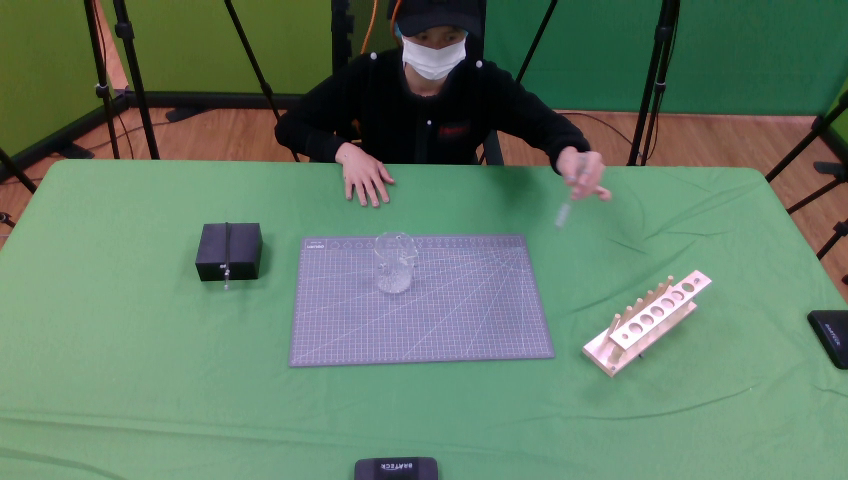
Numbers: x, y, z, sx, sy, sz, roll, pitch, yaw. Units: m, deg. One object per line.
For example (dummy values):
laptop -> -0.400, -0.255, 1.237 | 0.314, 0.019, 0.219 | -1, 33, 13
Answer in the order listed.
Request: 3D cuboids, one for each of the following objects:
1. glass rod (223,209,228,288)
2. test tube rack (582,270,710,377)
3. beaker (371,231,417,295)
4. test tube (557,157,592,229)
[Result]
glass rod -> -0.360, 0.010, 1.098 | 0.008, 0.008, 0.198 | -7, 47, -12
test tube rack -> 0.389, 0.132, 1.057 | 0.242, 0.085, 0.066 | -28, 54, -28
beaker -> -0.054, 0.045, 1.093 | 0.084, 0.101, 0.073 | 17, 47, 11
test tube -> 0.242, -0.073, 0.984 | 0.017, 0.151, 0.017 | 5, 46, -5
